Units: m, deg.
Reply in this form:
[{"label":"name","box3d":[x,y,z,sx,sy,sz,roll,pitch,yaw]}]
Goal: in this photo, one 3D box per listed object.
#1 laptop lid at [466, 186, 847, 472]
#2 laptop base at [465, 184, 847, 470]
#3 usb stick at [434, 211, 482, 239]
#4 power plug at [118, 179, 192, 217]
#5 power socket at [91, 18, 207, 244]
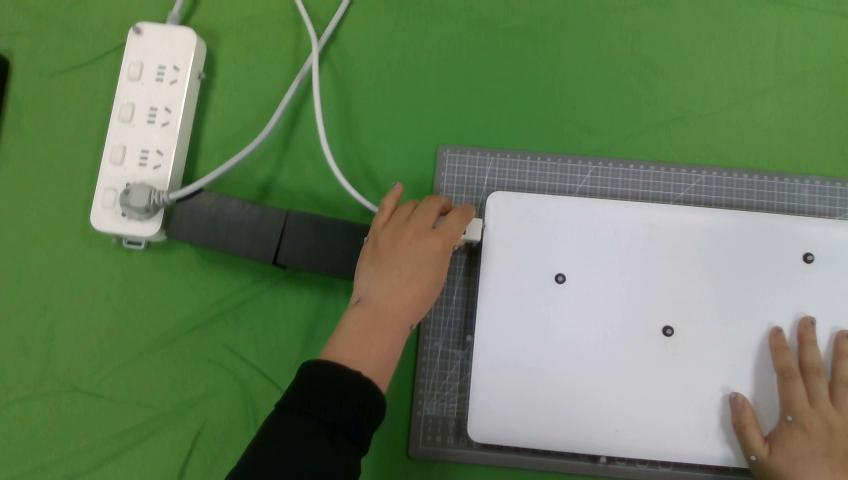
[{"label":"laptop lid","box3d":[0.222,0.080,0.557,0.357,0.013,0.241,7,87,2]},{"label":"laptop base","box3d":[0.223,0.078,0.567,0.354,0.023,0.235,5,87,1]},{"label":"usb stick","box3d":[0.039,-0.013,0.570,0.059,0.027,0.021,5,85,-2]},{"label":"power plug","box3d":[-0.248,-0.033,0.564,0.072,0.053,0.035,21,81,2]},{"label":"power socket","box3d":[-0.267,-0.109,0.593,0.072,0.032,0.226,8,83,1]}]
